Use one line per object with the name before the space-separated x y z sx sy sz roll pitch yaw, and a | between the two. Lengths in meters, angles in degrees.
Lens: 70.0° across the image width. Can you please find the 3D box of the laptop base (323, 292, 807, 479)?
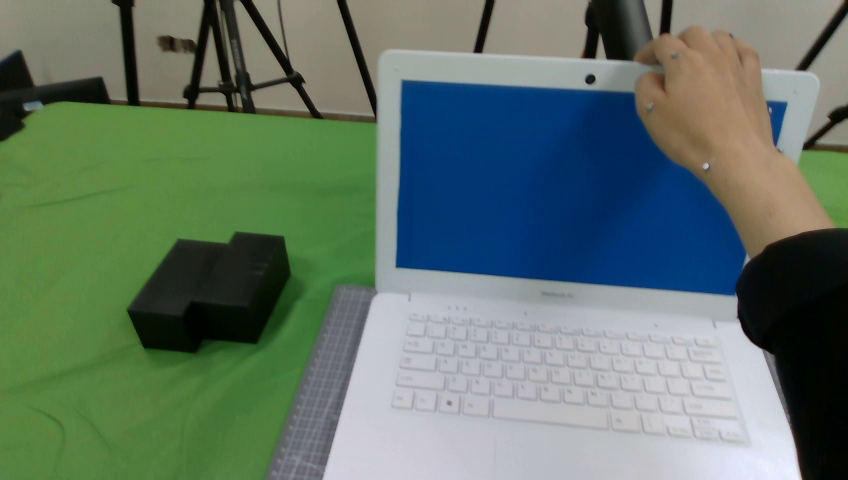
laptop base | 0.109 0.145 0.488 0.354 0.023 0.233 4 43 5

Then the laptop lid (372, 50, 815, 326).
laptop lid | 0.128 -0.038 0.532 0.356 0.243 0.013 3 24 6
